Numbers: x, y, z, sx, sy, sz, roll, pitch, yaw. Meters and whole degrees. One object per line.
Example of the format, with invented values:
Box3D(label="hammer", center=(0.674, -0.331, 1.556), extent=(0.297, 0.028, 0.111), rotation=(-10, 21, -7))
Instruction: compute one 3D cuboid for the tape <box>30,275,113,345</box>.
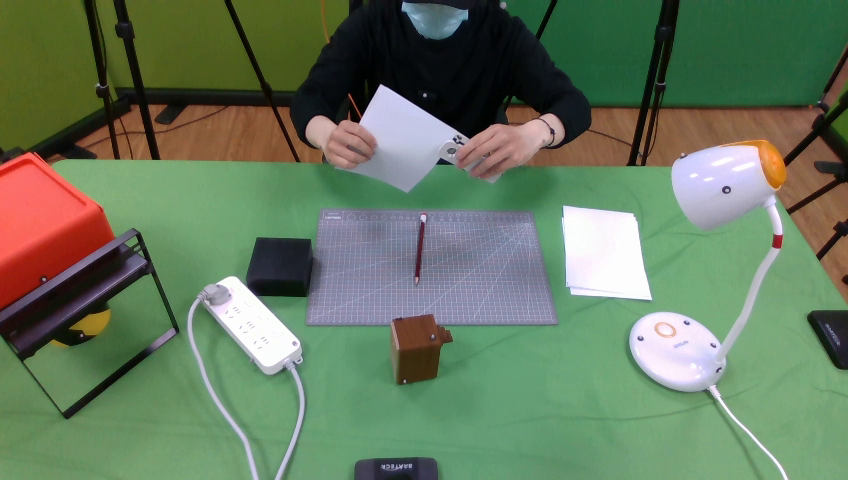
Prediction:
Box3D(label="tape", center=(-0.594, 0.117, 1.021), extent=(0.117, 0.053, 0.116), rotation=(2, 45, -2))

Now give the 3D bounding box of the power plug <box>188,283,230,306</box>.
Box3D(label="power plug", center=(-0.368, 0.099, 1.037), extent=(0.072, 0.053, 0.035), rotation=(-24, 52, -25))

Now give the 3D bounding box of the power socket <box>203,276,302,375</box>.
Box3D(label="power socket", center=(-0.297, 0.141, 1.034), extent=(0.072, 0.033, 0.225), rotation=(-34, 58, -30))

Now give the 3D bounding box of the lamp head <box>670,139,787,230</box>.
Box3D(label="lamp head", center=(0.415, -0.079, 0.812), extent=(0.113, 0.123, 0.112), rotation=(12, 70, -37))

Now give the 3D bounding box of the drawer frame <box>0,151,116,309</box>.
Box3D(label="drawer frame", center=(-0.604, -0.013, 0.876), extent=(0.201, 0.083, 0.213), rotation=(31, 52, 23))

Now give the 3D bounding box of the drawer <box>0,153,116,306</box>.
Box3D(label="drawer", center=(-0.601, -0.015, 0.880), extent=(0.193, 0.073, 0.211), rotation=(32, 53, 23))

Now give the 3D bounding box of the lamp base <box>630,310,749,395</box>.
Box3D(label="lamp base", center=(0.447, 0.142, 0.984), extent=(0.161, 0.181, 0.178), rotation=(-24, 55, -24))

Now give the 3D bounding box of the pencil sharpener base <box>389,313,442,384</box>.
Box3D(label="pencil sharpener base", center=(-0.013, 0.175, 0.971), extent=(0.077, 0.107, 0.061), rotation=(-8, 47, -11))

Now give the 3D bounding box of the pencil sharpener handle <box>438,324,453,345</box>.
Box3D(label="pencil sharpener handle", center=(0.036, 0.155, 0.976), extent=(0.031, 0.068, 0.036), rotation=(-8, 69, -11))

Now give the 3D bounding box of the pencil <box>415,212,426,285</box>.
Box3D(label="pencil", center=(-0.008, 0.014, 1.190), extent=(0.012, 0.012, 0.193), rotation=(5, 48, 1))

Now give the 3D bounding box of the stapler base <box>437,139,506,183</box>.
Box3D(label="stapler base", center=(0.084, -0.147, 1.082), extent=(0.131, 0.041, 0.024), rotation=(24, 43, -24))

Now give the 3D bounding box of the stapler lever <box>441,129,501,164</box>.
Box3D(label="stapler lever", center=(0.084, -0.163, 1.099), extent=(0.118, 0.027, 0.040), rotation=(23, 44, -25))
